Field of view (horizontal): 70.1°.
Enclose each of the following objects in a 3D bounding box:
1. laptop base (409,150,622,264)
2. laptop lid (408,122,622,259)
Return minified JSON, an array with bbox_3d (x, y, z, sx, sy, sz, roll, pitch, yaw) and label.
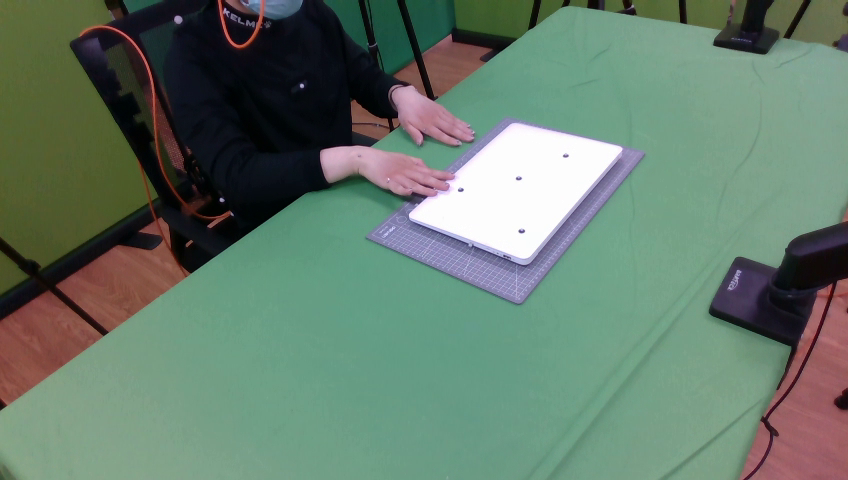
[{"bbox_3d":[0.168,-0.095,1.057,0.233,0.023,0.355,20,47,33],"label":"laptop base"},{"bbox_3d":[0.165,-0.105,1.051,0.240,0.013,0.358,22,48,33],"label":"laptop lid"}]
